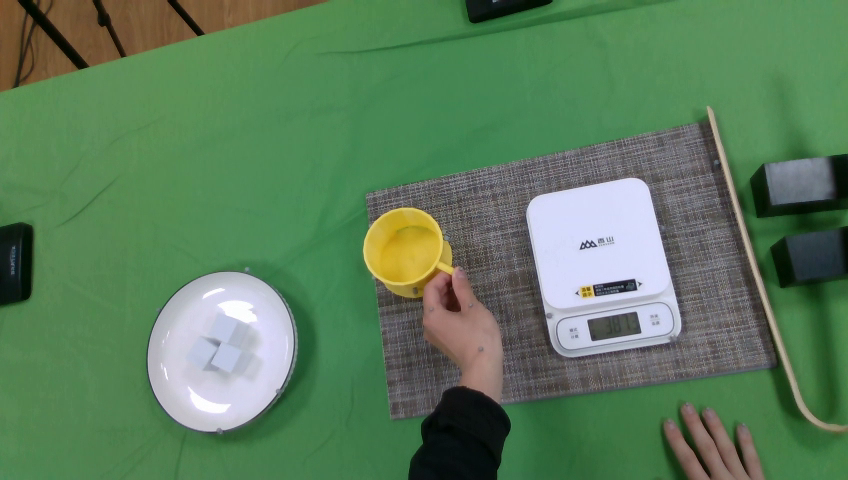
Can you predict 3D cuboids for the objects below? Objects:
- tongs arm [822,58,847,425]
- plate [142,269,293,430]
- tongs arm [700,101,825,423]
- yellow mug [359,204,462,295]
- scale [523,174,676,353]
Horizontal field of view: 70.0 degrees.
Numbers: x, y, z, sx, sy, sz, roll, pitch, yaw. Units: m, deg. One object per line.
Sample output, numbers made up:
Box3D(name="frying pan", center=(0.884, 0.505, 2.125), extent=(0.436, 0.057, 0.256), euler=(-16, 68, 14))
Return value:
Box3D(name="tongs arm", center=(0.439, -0.001, 0.642), extent=(0.050, 0.027, 0.383), euler=(-5, 81, 38))
Box3D(name="plate", center=(-0.267, 0.142, 0.796), extent=(0.207, 0.039, 0.206), euler=(-3, 76, 11))
Box3D(name="tongs arm", center=(0.377, 0.013, 0.693), extent=(0.028, 0.028, 0.385), euler=(-20, 72, 32))
Box3D(name="yellow mug", center=(-0.010, 0.019, 0.749), extent=(0.130, 0.064, 0.099), euler=(25, 80, 18))
Box3D(name="scale", center=(0.206, 0.026, 0.724), extent=(0.148, 0.032, 0.199), euler=(-11, 75, 10))
